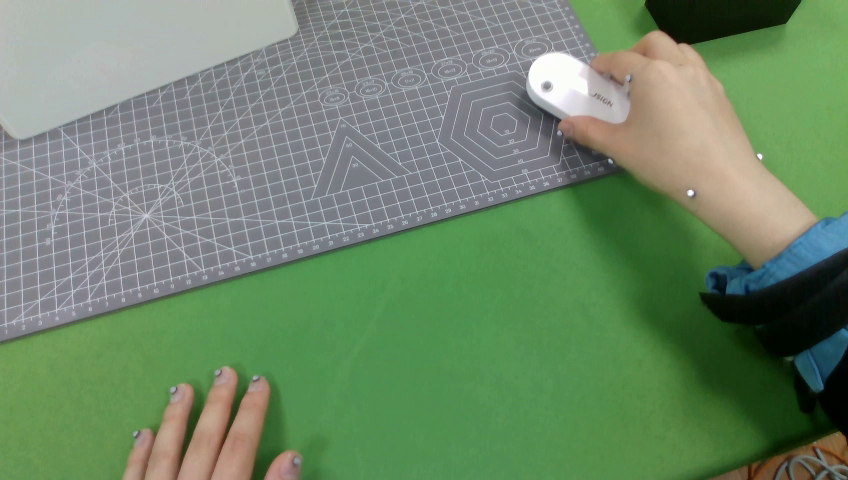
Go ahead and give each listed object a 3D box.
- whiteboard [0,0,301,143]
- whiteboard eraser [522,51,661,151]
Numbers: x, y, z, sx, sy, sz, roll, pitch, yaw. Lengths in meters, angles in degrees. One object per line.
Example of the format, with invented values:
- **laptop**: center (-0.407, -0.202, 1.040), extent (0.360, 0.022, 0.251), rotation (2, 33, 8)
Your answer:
- **whiteboard**: center (-0.242, -0.258, 0.378), extent (0.217, 0.308, 0.142), rotation (-25, 47, -11)
- **whiteboard eraser**: center (0.117, -0.097, 0.423), extent (0.101, 0.019, 0.041), rotation (33, 75, 12)
